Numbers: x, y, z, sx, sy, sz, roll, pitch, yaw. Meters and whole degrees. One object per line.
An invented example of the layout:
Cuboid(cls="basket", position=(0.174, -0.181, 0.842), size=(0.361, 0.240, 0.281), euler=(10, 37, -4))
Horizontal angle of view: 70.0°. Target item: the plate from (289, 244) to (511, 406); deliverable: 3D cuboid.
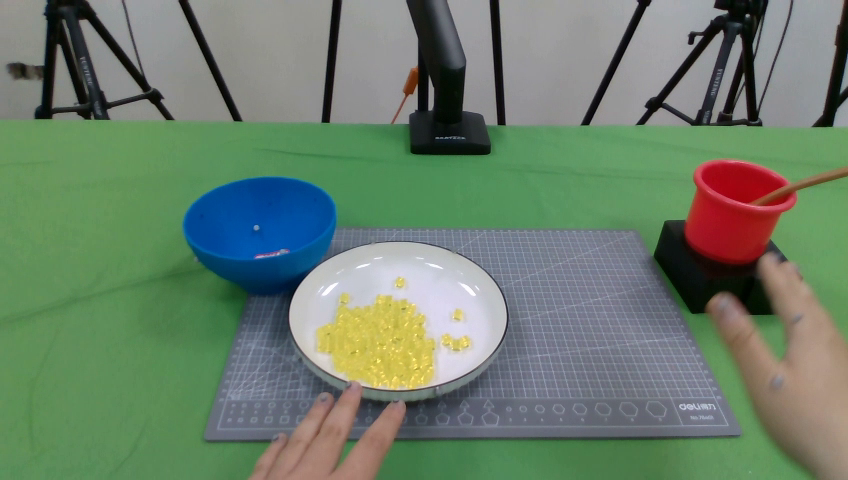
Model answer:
Cuboid(cls="plate", position=(-0.022, 0.079, 0.583), size=(0.208, 0.039, 0.205), euler=(2, 36, -1))

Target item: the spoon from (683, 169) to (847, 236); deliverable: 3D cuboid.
Cuboid(cls="spoon", position=(0.355, -0.041, 0.600), size=(0.193, 0.022, 0.041), euler=(-28, 13, 39))

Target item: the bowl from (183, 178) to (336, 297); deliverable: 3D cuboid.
Cuboid(cls="bowl", position=(-0.166, 0.006, 0.637), size=(0.151, 0.077, 0.150), euler=(2, 37, -1))
